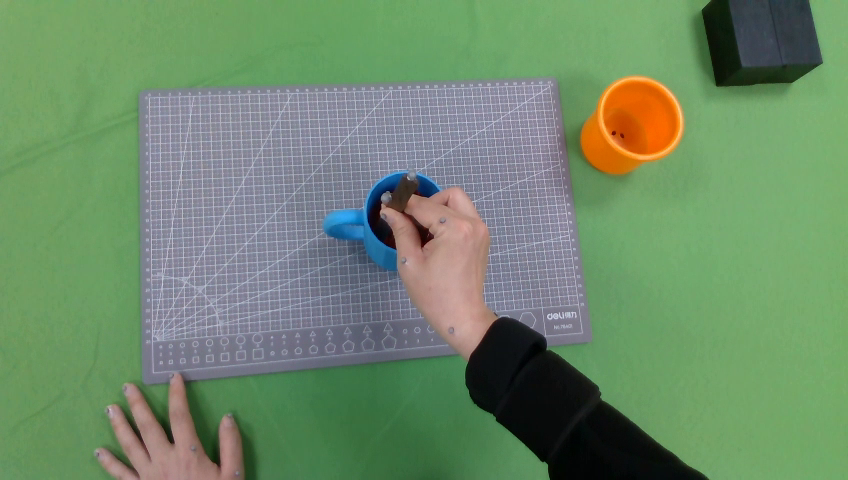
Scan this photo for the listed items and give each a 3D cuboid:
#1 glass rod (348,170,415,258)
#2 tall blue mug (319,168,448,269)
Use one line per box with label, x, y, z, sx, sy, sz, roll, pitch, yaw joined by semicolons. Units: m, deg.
glass rod;-0.041;-0.016;0.514;0.008;0.200;0.008;6;70;-18
tall blue mug;-0.037;-0.011;0.579;0.107;0.108;0.077;-28;84;-11
